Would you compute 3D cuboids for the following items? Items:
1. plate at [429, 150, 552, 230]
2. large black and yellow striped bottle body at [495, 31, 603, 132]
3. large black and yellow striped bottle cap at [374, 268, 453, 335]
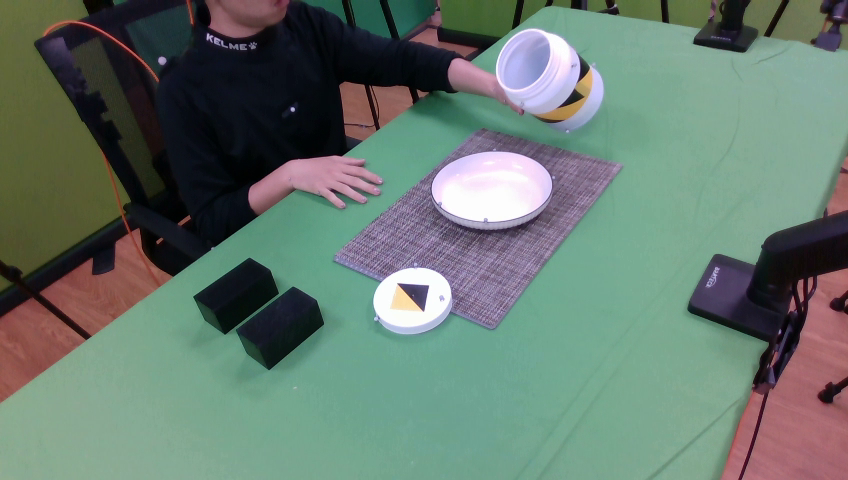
[{"bbox_3d":[0.113,-0.082,1.032,0.207,0.039,0.206,-4,41,4],"label":"plate"},{"bbox_3d":[0.220,-0.278,1.065,0.186,0.130,0.129,14,17,-49],"label":"large black and yellow striped bottle body"},{"bbox_3d":[-0.015,0.087,0.871,0.115,0.019,0.114,-6,43,6],"label":"large black and yellow striped bottle cap"}]
